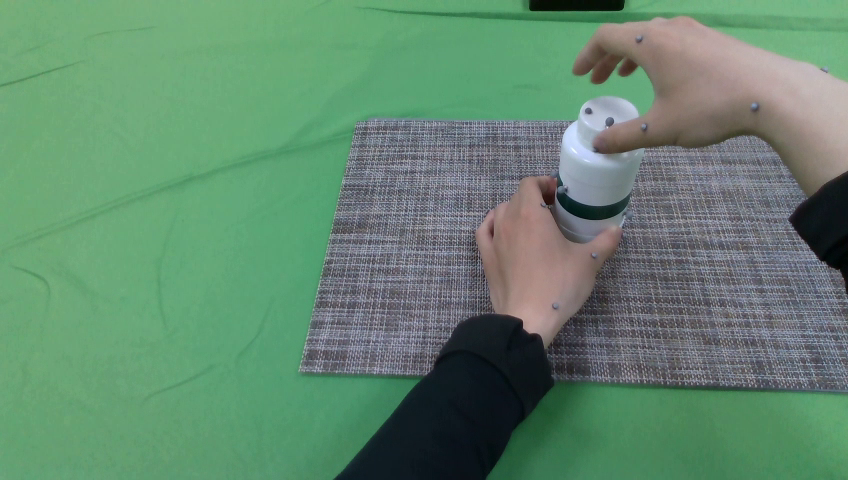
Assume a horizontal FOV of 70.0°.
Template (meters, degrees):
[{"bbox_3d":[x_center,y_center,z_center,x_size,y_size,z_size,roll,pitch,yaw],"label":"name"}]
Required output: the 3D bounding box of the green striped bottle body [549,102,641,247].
[{"bbox_3d":[0.140,-0.054,0.499,0.063,0.120,0.062,-2,50,3],"label":"green striped bottle body"}]

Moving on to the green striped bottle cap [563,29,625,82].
[{"bbox_3d":[0.129,-0.140,0.460,0.044,0.044,0.020,-31,91,-20],"label":"green striped bottle cap"}]
